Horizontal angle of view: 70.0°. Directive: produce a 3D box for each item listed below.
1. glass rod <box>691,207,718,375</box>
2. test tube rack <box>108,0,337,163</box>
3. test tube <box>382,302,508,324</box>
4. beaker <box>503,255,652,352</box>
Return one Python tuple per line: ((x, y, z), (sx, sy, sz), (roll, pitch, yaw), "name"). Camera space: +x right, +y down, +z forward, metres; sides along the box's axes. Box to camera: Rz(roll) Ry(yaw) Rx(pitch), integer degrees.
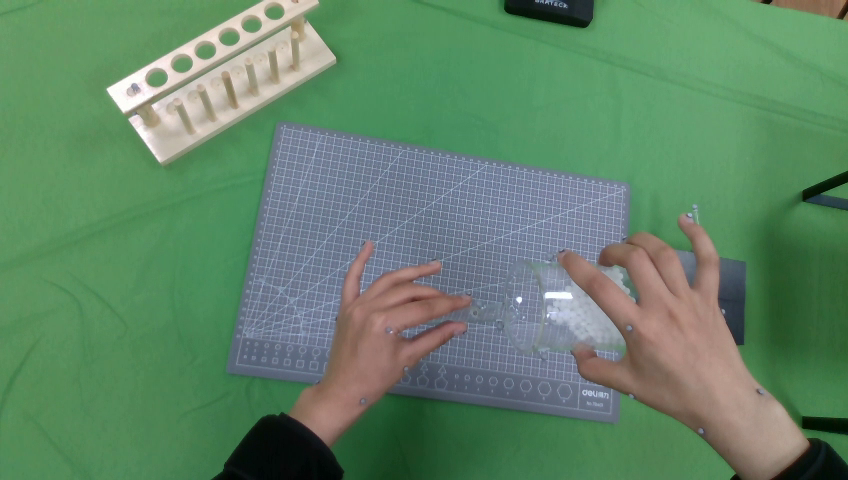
((0.329, 0.057, 0.711), (0.008, 0.008, 0.198), (0, 78, -9), "glass rod")
((-0.218, -0.192, 0.690), (0.242, 0.085, 0.066), (-36, 84, -15), "test tube rack")
((0.015, 0.068, 0.562), (0.017, 0.149, 0.017), (10, 76, -46), "test tube")
((0.122, 0.052, 0.489), (0.100, 0.084, 0.073), (2, 76, -16), "beaker")
